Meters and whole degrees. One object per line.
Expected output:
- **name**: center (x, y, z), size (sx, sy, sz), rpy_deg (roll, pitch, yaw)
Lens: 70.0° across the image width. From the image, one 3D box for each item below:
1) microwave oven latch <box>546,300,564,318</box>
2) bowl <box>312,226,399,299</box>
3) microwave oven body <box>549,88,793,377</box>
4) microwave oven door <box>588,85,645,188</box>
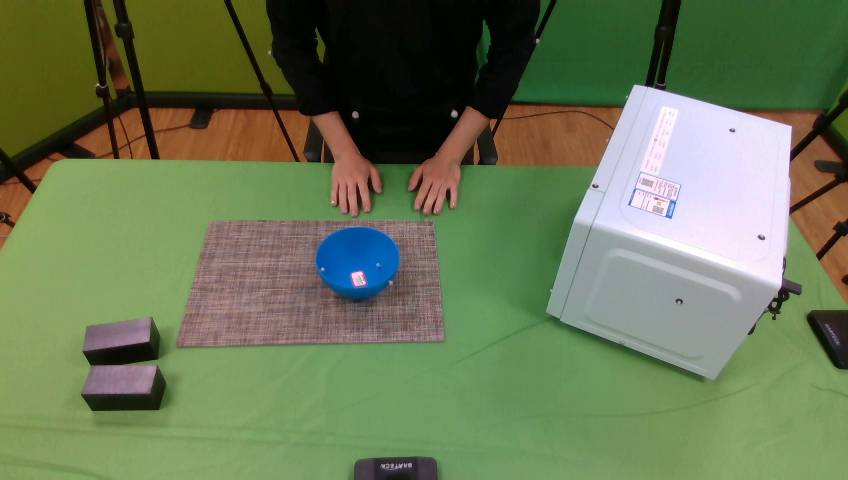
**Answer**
- **microwave oven latch**: center (0.242, 0.102, 1.081), size (0.030, 0.029, 0.079), rpy_deg (22, 48, 17)
- **bowl**: center (-0.120, 0.054, 1.091), size (0.151, 0.077, 0.150), rpy_deg (2, 46, -2)
- **microwave oven body**: center (0.456, -0.028, 1.088), size (0.325, 0.261, 0.440), rpy_deg (20, 47, 16)
- **microwave oven door**: center (0.342, -0.107, 1.149), size (0.039, 0.245, 0.354), rpy_deg (20, 48, 15)
